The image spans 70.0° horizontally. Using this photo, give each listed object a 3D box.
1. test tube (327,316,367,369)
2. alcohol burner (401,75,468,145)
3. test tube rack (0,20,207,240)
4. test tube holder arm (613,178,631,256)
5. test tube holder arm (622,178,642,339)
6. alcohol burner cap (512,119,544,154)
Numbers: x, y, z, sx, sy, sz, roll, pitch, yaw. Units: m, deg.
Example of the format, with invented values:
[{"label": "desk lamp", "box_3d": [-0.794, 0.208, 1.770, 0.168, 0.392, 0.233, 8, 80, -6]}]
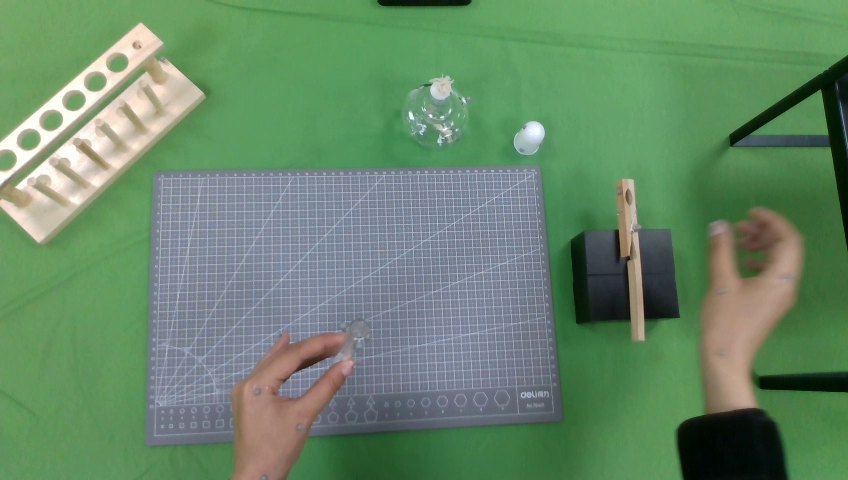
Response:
[{"label": "test tube", "box_3d": [-0.068, 0.090, 0.517, 0.017, 0.150, 0.017, 5, 67, -13]}, {"label": "alcohol burner", "box_3d": [0.014, -0.152, 0.679, 0.078, 0.119, 0.077, 1, 78, -6]}, {"label": "test tube rack", "box_3d": [-0.357, -0.115, 0.650, 0.066, 0.085, 0.242, 42, 78, 4]}, {"label": "test tube holder arm", "box_3d": [0.220, -0.026, 0.673, 0.010, 0.015, 0.087, 1, 80, -16]}, {"label": "test tube holder arm", "box_3d": [0.227, 0.019, 0.667, 0.013, 0.015, 0.177, 1, 80, -16]}, {"label": "alcohol burner cap", "box_3d": [0.126, -0.125, 0.722, 0.034, 0.048, 0.033, 1, 78, -5]}]
